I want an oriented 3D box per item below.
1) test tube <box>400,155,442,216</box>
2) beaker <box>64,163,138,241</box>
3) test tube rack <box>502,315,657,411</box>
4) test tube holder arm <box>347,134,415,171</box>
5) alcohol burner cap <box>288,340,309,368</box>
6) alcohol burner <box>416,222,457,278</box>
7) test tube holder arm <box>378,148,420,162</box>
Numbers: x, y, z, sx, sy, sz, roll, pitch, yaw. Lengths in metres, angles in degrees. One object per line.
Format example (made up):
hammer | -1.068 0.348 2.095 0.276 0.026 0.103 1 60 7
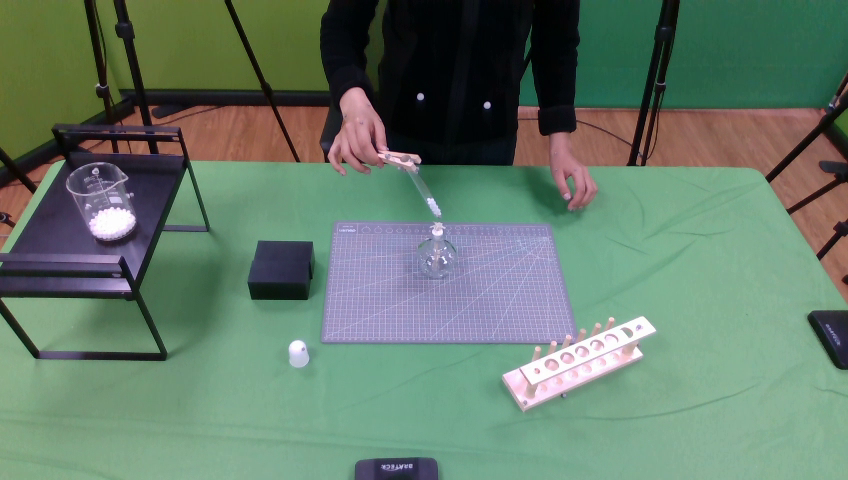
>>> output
test tube | -0.003 -0.088 1.005 0.017 0.151 0.017 -14 51 18
beaker | -0.477 -0.055 0.910 0.084 0.101 0.073 -9 48 -13
test tube rack | 0.253 0.186 0.989 0.242 0.085 0.066 -18 50 -20
test tube holder arm | -0.075 -0.146 0.999 0.177 0.015 0.013 29 84 43
alcohol burner cap | -0.207 0.183 0.991 0.034 0.048 0.033 3 46 -3
alcohol burner | 0.024 0.013 1.116 0.078 0.120 0.077 1 45 -1
test tube holder arm | -0.042 -0.137 0.970 0.087 0.015 0.010 16 75 41
